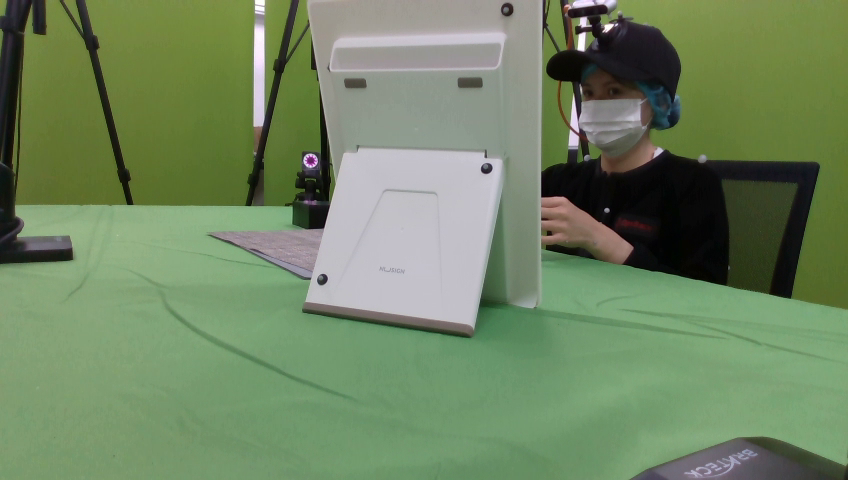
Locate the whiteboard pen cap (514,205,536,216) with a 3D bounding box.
[{"bbox_3d":[0.159,-0.048,0.957,0.033,0.018,0.018,-1,4,38],"label":"whiteboard pen cap"}]

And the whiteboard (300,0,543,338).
[{"bbox_3d":[-0.020,-0.050,0.523,0.216,0.305,0.144,6,27,22],"label":"whiteboard"}]

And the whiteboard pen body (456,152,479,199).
[{"bbox_3d":[0.074,-0.108,1.013,0.017,0.017,0.140,1,-25,-9],"label":"whiteboard pen body"}]
